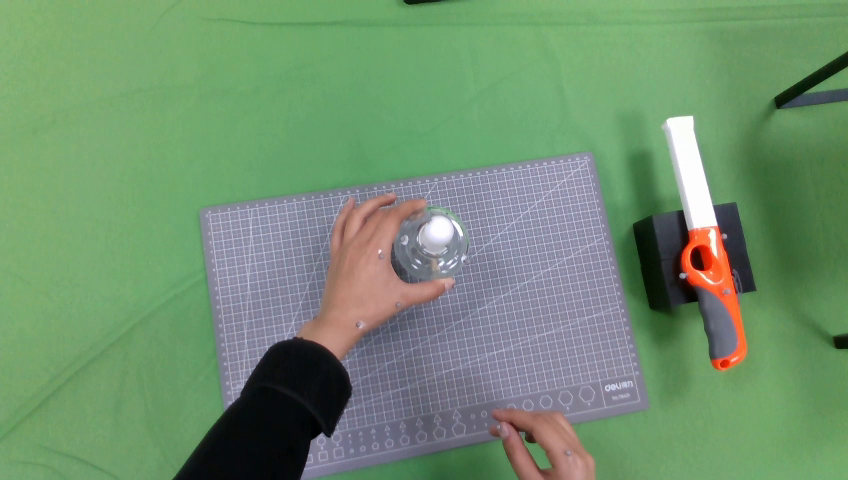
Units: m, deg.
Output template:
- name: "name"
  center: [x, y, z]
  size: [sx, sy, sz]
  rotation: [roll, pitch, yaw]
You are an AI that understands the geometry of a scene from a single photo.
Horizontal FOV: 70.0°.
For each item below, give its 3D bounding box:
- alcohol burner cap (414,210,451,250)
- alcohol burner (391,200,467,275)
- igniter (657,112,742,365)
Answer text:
- name: "alcohol burner cap"
  center: [0.009, -0.011, 0.571]
  size: [0.034, 0.048, 0.033]
  rotation: [2, 77, -8]
- name: "alcohol burner"
  center: [0.008, -0.006, 0.601]
  size: [0.078, 0.119, 0.077]
  rotation: [2, 78, -8]
- name: "igniter"
  center: [0.295, -0.006, 0.651]
  size: [0.057, 0.025, 0.275]
  rotation: [-7, 79, -6]
